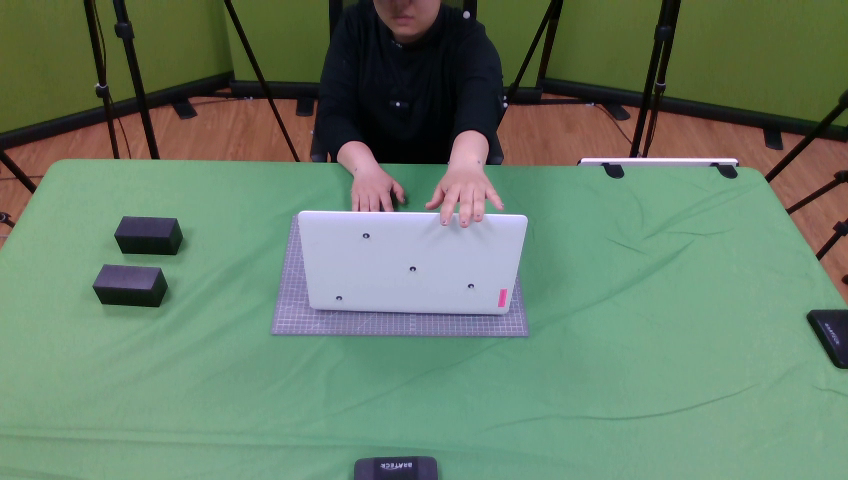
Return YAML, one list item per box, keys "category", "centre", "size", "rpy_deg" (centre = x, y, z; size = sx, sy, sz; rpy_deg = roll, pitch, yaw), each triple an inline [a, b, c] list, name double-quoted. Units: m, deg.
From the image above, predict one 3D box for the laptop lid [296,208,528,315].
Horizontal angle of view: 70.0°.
- category: "laptop lid"
  centre: [-0.021, 0.043, 0.987]
  size: [0.357, 0.243, 0.013]
  rpy_deg: [3, 43, -4]

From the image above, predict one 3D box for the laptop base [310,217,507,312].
- category: "laptop base"
  centre: [-0.028, 0.045, 1.154]
  size: [0.354, 0.023, 0.234]
  rpy_deg: [2, 42, -3]
